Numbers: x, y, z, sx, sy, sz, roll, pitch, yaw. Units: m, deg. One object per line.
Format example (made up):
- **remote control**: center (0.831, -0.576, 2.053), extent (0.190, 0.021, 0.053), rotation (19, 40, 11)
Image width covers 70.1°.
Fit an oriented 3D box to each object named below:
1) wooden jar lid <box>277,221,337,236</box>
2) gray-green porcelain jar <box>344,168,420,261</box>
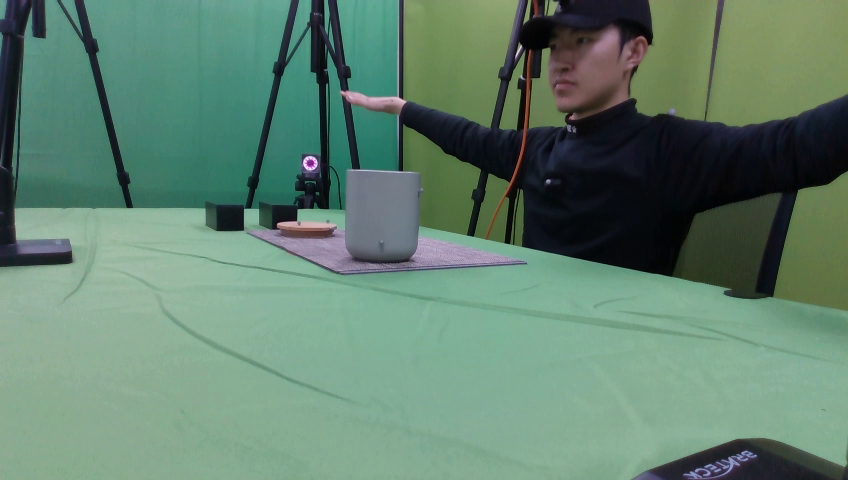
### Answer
- **wooden jar lid**: center (-0.215, -0.021, 1.112), extent (0.108, 0.020, 0.108), rotation (3, 7, 0)
- **gray-green porcelain jar**: center (-0.059, -0.037, 0.858), extent (0.106, 0.126, 0.106), rotation (2, 7, 0)
